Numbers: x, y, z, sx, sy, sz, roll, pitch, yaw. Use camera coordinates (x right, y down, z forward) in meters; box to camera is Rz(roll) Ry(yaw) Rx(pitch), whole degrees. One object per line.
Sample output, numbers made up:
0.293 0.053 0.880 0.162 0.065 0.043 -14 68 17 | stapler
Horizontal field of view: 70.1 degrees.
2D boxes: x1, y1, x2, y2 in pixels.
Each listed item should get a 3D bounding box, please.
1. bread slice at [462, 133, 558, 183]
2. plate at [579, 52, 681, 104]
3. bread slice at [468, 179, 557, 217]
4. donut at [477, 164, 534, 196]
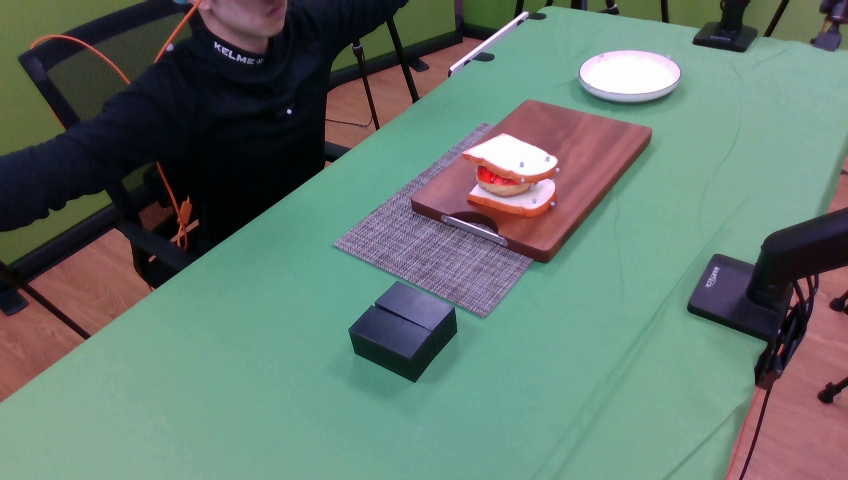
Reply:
0.145 -0.131 0.971 0.133 0.018 0.107 29 43 32 | bread slice
0.437 -0.343 1.294 0.209 0.038 0.208 -4 40 4 | plate
0.154 -0.083 1.003 0.130 0.019 0.105 19 48 29 | bread slice
0.136 -0.109 0.991 0.099 0.048 0.098 -4 39 3 | donut
